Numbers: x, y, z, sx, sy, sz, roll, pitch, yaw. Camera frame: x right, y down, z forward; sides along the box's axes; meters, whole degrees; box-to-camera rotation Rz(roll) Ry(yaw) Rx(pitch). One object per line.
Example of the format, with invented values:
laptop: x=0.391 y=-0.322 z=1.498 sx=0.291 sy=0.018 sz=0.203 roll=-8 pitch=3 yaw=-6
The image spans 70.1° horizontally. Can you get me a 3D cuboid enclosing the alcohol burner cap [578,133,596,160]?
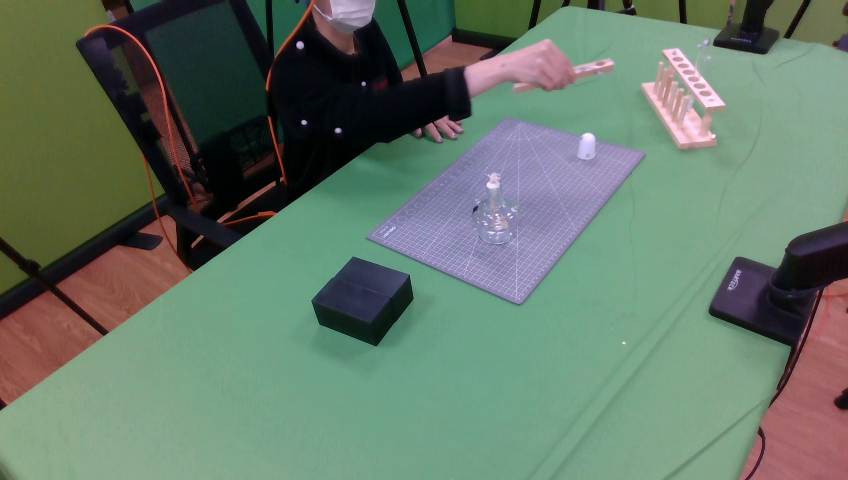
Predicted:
alcohol burner cap: x=0.301 y=-0.174 z=1.111 sx=0.034 sy=0.048 sz=0.033 roll=-4 pitch=41 yaw=4

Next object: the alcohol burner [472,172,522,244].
alcohol burner: x=0.112 y=-0.053 z=0.942 sx=0.078 sy=0.119 sz=0.077 roll=-6 pitch=40 yaw=5

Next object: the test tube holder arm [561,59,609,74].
test tube holder arm: x=0.272 y=-0.290 z=1.025 sx=0.088 sy=0.015 sz=0.010 roll=-16 pitch=55 yaw=-10

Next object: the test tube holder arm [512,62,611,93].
test tube holder arm: x=0.231 y=-0.274 z=1.014 sx=0.179 sy=0.015 sz=0.013 roll=-16 pitch=55 yaw=-10

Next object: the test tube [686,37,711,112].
test tube: x=0.509 y=-0.306 z=1.128 sx=0.017 sy=0.151 sz=0.017 roll=-3 pitch=45 yaw=3

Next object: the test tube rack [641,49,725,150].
test tube rack: x=0.495 y=-0.279 z=1.175 sx=0.067 sy=0.085 sz=0.241 roll=-5 pitch=41 yaw=3
